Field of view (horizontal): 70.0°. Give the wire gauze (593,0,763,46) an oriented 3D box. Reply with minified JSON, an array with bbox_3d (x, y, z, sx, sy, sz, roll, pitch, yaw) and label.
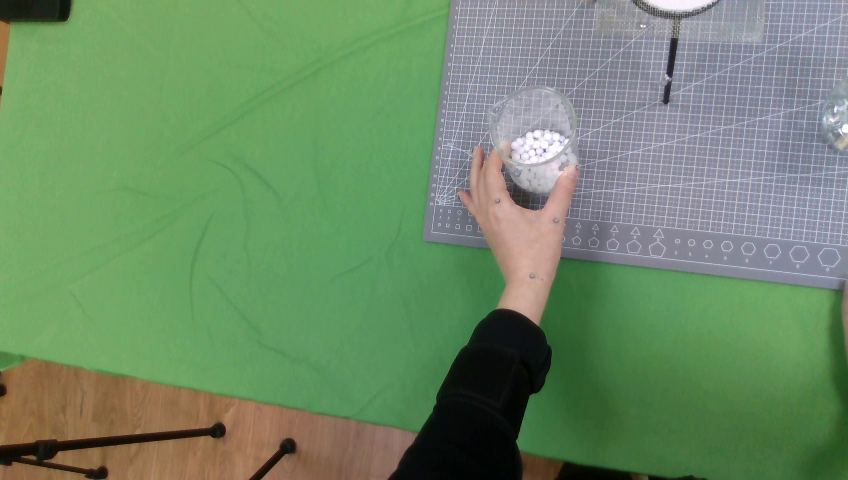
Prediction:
[{"bbox_3d":[0.197,-0.211,0.465,0.124,0.011,0.121,6,91,15],"label":"wire gauze"}]

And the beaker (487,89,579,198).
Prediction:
[{"bbox_3d":[0.103,-0.085,0.562,0.083,0.101,0.074,27,86,21],"label":"beaker"}]

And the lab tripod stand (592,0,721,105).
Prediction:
[{"bbox_3d":[0.215,-0.207,0.530,0.148,0.132,0.148,0,88,14],"label":"lab tripod stand"}]

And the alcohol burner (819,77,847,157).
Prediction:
[{"bbox_3d":[0.373,-0.105,0.492,0.077,0.119,0.078,-1,87,14],"label":"alcohol burner"}]
